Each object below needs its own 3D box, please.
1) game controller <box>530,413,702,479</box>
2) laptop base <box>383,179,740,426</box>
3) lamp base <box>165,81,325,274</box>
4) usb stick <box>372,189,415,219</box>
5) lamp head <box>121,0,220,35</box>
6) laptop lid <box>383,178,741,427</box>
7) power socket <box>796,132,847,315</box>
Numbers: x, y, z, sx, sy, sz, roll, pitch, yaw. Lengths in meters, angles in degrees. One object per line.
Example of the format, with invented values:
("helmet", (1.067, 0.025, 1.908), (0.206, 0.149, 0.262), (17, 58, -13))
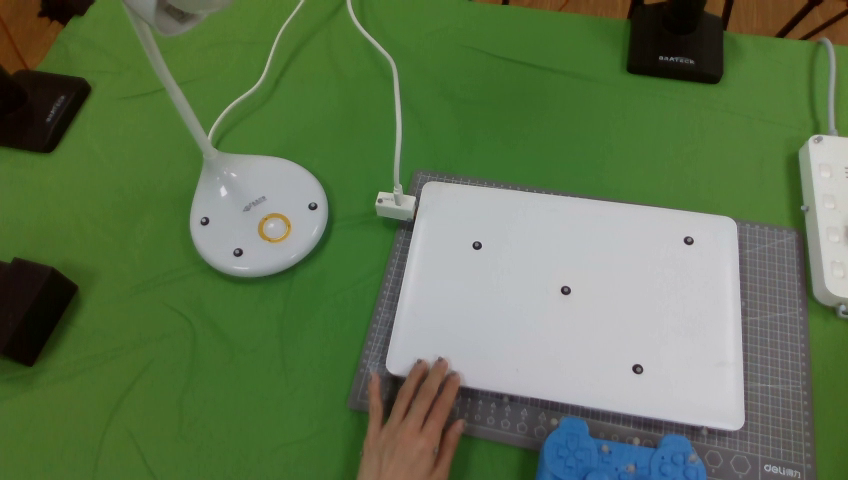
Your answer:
("game controller", (0.176, 0.214, 0.553), (0.155, 0.052, 0.096), (8, 61, 7))
("laptop base", (0.149, 0.056, 0.653), (0.354, 0.023, 0.234), (7, 67, 7))
("lamp base", (-0.211, -0.075, 0.650), (0.178, 0.182, 0.160), (35, 69, 22))
("usb stick", (-0.028, -0.040, 0.699), (0.059, 0.027, 0.021), (11, 58, 5))
("lamp head", (-0.178, -0.207, 0.374), (0.123, 0.112, 0.112), (36, 68, -5))
("laptop lid", (0.148, 0.053, 0.641), (0.356, 0.013, 0.240), (9, 66, 8))
("power socket", (0.461, -0.027, 0.671), (0.072, 0.033, 0.225), (9, 63, 7))
